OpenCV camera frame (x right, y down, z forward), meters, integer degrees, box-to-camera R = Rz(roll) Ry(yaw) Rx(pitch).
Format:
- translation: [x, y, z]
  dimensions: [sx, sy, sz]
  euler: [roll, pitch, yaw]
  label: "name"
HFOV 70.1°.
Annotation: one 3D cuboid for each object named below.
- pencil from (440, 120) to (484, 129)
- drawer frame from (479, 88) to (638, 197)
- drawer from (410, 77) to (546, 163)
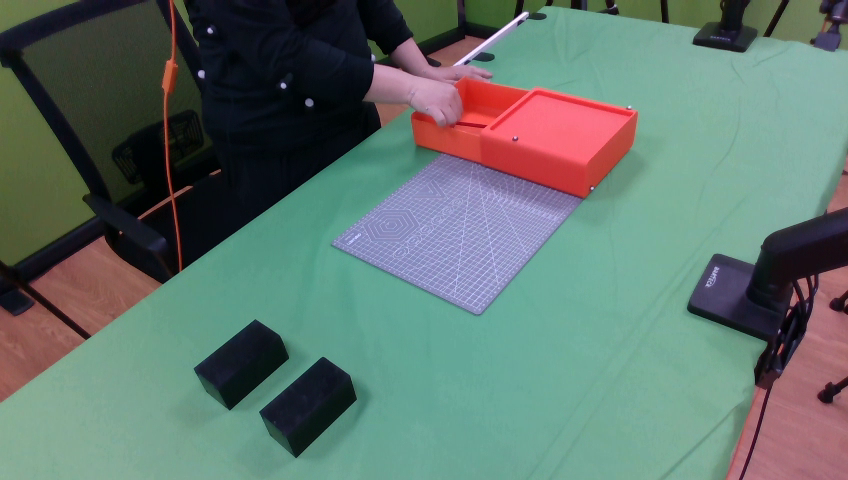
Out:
- translation: [0.126, -0.218, 1.177]
  dimensions: [0.194, 0.012, 0.012]
  euler: [9, 42, 4]
  label: "pencil"
- translation: [0.243, -0.184, 1.100]
  dimensions: [0.212, 0.083, 0.202]
  euler: [23, 48, 30]
  label: "drawer frame"
- translation: [0.114, -0.236, 1.187]
  dimensions: [0.210, 0.073, 0.195]
  euler: [21, 46, 32]
  label: "drawer"
